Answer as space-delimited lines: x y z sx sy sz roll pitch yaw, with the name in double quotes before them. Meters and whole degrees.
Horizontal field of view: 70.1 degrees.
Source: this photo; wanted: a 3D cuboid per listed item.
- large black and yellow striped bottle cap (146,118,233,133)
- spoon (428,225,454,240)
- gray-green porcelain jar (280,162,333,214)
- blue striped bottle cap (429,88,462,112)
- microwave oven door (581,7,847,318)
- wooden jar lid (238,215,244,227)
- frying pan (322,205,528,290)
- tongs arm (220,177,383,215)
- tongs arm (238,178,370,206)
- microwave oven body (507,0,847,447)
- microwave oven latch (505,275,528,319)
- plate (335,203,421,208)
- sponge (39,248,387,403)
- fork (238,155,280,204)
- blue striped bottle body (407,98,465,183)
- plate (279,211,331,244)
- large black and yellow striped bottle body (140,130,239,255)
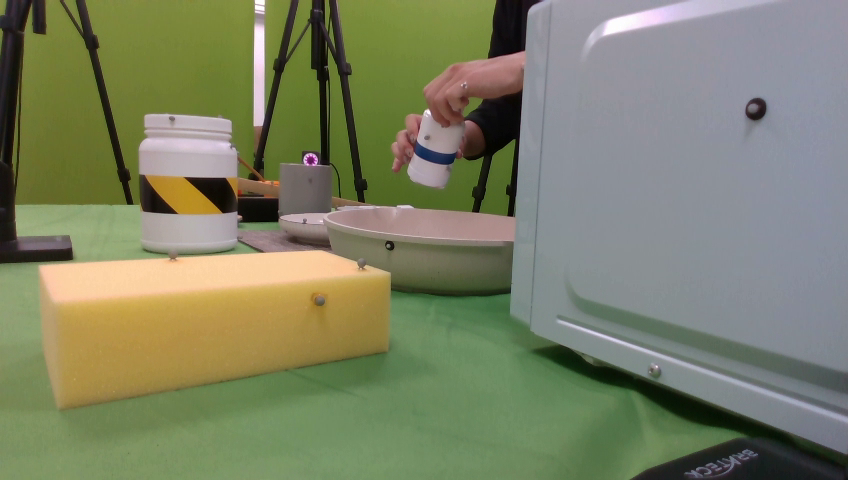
"large black and yellow striped bottle cap" -0.333 -0.163 0.861 0.115 0.019 0.115 1 9 0
"spoon" 0.024 -0.018 1.125 0.042 0.021 0.193 -16 9 -4
"gray-green porcelain jar" -0.238 -0.092 1.221 0.106 0.126 0.106 2 7 0
"blue striped bottle cap" 0.031 -0.190 0.837 0.045 0.020 0.044 17 41 -15
"microwave oven door" 0.295 -0.067 0.570 0.358 0.243 0.039 -3 8 -31
"wooden jar lid" -0.404 -0.037 1.169 0.108 0.020 0.108 3 7 0
"frying pan" 0.110 -0.017 0.800 0.490 0.102 0.305 -12 16 -30
"tongs arm" -0.285 -0.103 1.445 0.389 0.027 0.028 9 -4 -23
"tongs arm" -0.241 -0.095 1.373 0.387 0.026 0.050 9 -1 -37
"microwave oven body" 0.331 -0.042 0.425 0.444 0.260 0.324 -2 8 -31
"microwave oven latch" 0.100 0.041 0.471 0.079 0.029 0.030 -1 7 -28
"plate" -0.089 -0.053 1.309 0.208 0.039 0.207 2 8 0
"sponge" -0.142 0.047 0.420 0.208 0.061 0.117 -3 8 -37
"fork" -0.396 -0.143 1.486 0.028 0.018 0.208 20 -26 45
"blue striped bottle body" 0.019 -0.147 0.861 0.063 0.120 0.063 13 30 -7
"plate" -0.139 -0.022 1.021 0.209 0.038 0.209 2 8 0
"large black and yellow striped bottle body" -0.336 -0.078 0.872 0.131 0.184 0.130 2 7 0
